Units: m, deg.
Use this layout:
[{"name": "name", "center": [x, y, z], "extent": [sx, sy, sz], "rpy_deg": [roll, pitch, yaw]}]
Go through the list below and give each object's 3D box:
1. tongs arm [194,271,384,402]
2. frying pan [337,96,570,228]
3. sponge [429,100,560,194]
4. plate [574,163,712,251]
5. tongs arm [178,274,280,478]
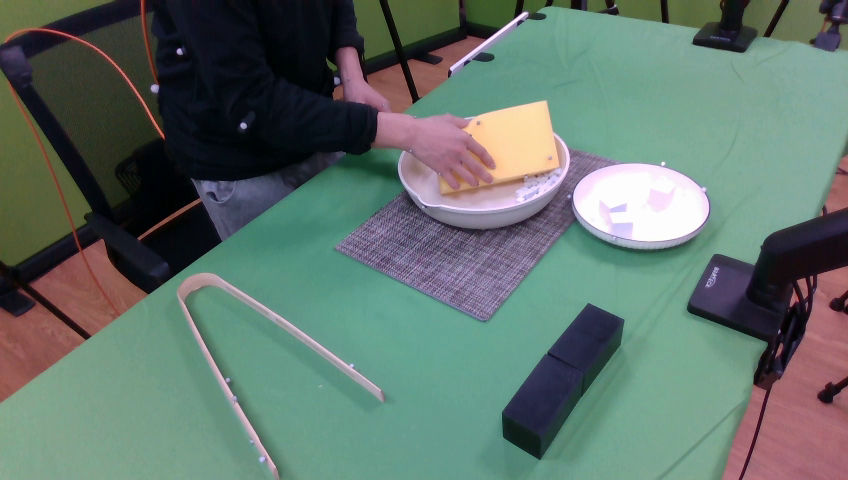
[{"name": "tongs arm", "center": [-0.199, 0.124, 0.846], "extent": [0.384, 0.028, 0.028], "rpy_deg": [25, 53, 32]}, {"name": "frying pan", "center": [0.023, -0.167, 1.090], "extent": [0.484, 0.103, 0.308], "rpy_deg": [32, 52, 26]}, {"name": "sponge", "center": [0.120, -0.159, 1.050], "extent": [0.207, 0.118, 0.061], "rpy_deg": [-13, -2, -3]}, {"name": "plate", "center": [0.345, -0.050, 0.966], "extent": [0.207, 0.039, 0.206], "rpy_deg": [-4, 40, 4]}, {"name": "tongs arm", "center": [-0.260, 0.161, 0.806], "extent": [0.051, 0.026, 0.381], "rpy_deg": [-29, 45, -24]}]
